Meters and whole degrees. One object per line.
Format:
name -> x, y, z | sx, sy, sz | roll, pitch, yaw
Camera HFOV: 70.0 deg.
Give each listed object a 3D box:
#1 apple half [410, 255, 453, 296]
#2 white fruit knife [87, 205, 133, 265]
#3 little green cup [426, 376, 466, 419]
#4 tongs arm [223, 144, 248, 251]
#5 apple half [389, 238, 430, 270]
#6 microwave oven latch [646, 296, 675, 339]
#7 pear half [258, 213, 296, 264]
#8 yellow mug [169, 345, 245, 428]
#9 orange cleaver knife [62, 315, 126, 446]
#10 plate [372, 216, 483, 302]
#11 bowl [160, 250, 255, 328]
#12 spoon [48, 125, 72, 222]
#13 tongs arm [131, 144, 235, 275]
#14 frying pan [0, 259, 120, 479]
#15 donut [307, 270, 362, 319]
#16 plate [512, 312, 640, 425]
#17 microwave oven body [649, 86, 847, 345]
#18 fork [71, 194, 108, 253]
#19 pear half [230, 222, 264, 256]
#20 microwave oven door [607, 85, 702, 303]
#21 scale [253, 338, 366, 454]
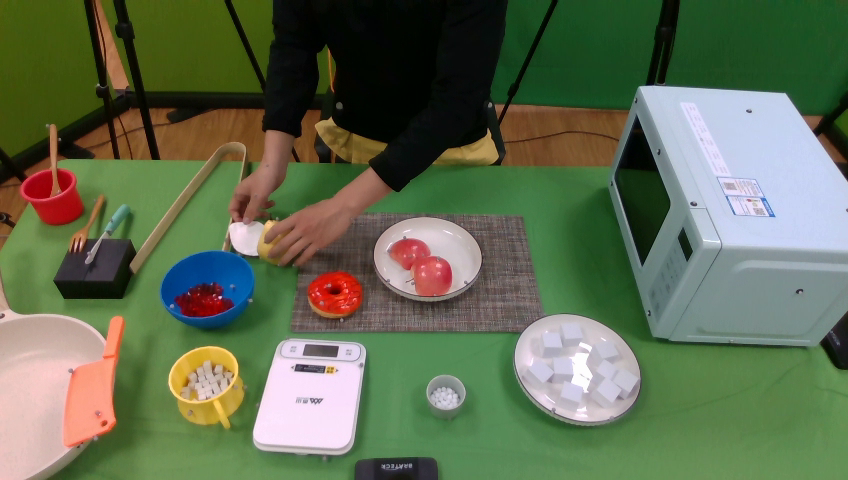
apple half -> 0.015, 0.058, 1.102 | 0.075, 0.053, 0.080 | -2, 43, -9
white fruit knife -> -0.584, -0.013, 1.129 | 0.016, 0.027, 0.206 | -1, 32, -4
little green cup -> 0.033, 0.248, 0.950 | 0.061, 0.039, 0.061 | 2, 46, -2
tongs arm -> -0.398, -0.073, 1.232 | 0.051, 0.027, 0.382 | -3, 45, 0
apple half -> -0.026, 0.016, 1.158 | 0.081, 0.033, 0.081 | 2, 47, -2
microwave oven latch -> 0.412, 0.134, 1.061 | 0.030, 0.029, 0.078 | 4, 45, 1
pear half -> -0.267, -0.005, 1.118 | 0.056, 0.110, 0.076 | 15, 49, 16
yellow mug -> -0.322, 0.230, 0.922 | 0.100, 0.064, 0.130 | -24, 53, -25
orange cleaver knife -> -0.480, 0.199, 0.887 | 0.077, 0.012, 0.210 | -9, 47, -8
plate -> 0.006, 0.038, 1.145 | 0.209, 0.038, 0.208 | 2, 46, -2
bowl -> -0.362, 0.098, 1.039 | 0.151, 0.077, 0.150 | 2, 45, -2
spoon -> -0.718, -0.131, 1.189 | 0.041, 0.021, 0.193 | -3, 90, -6
tongs arm -> -0.484, -0.075, 1.236 | 0.028, 0.028, 0.385 | 5, 45, 13
frying pan -> -0.647, 0.164, 0.936 | 0.307, 0.103, 0.485 | -19, 58, -22
donut -> -0.157, 0.096, 1.073 | 0.099, 0.048, 0.098 | 4, 45, -4
plate -> 0.246, 0.213, 0.999 | 0.208, 0.039, 0.206 | 2, 46, -2
microwave oven body -> 0.567, -0.053, 1.118 | 0.326, 0.261, 0.439 | 2, 45, -1
fork -> -0.634, -0.036, 1.158 | 0.028, 0.019, 0.206 | -8, 31, -8
pear half -> -0.334, 0.000, 1.169 | 0.088, 0.031, 0.070 | 31, 54, 10
microwave oven door -> 0.423, -0.094, 1.140 | 0.039, 0.245, 0.353 | 2, 46, -1
scale -> -0.175, 0.236, 0.951 | 0.149, 0.032, 0.199 | 4, 46, -1
